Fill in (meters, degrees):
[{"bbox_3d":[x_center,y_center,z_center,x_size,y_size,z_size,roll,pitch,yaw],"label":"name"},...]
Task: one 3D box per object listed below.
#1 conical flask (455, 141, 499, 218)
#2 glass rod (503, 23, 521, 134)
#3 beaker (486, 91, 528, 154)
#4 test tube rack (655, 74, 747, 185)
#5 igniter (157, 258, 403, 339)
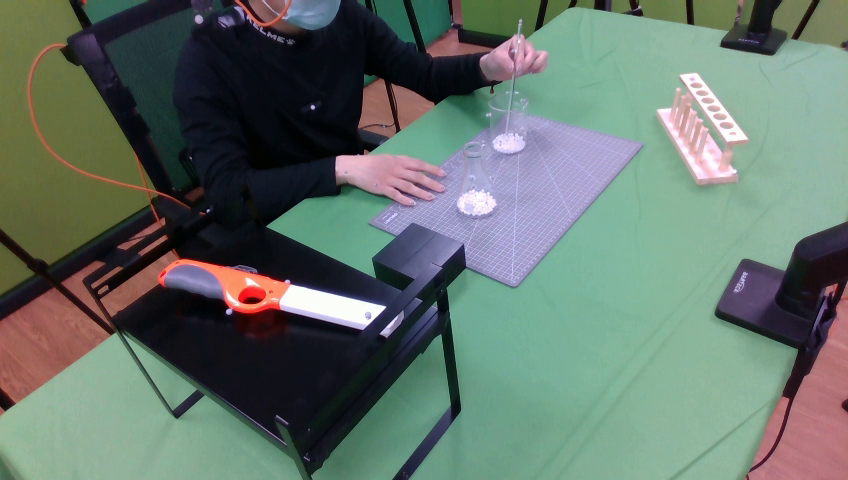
[{"bbox_3d":[0.085,-0.103,0.999,0.075,0.122,0.075,-4,40,4],"label":"conical flask"},{"bbox_3d":[0.162,-0.297,1.117,0.008,0.199,0.008,7,10,-1],"label":"glass rod"},{"bbox_3d":[0.160,-0.218,1.142,0.074,0.101,0.083,-22,43,-16],"label":"beaker"},{"bbox_3d":[0.491,-0.205,1.092,0.067,0.085,0.241,-5,40,3],"label":"test tube rack"},{"bbox_3d":[-0.157,0.059,0.638,0.275,0.025,0.057,11,43,14],"label":"igniter"}]
